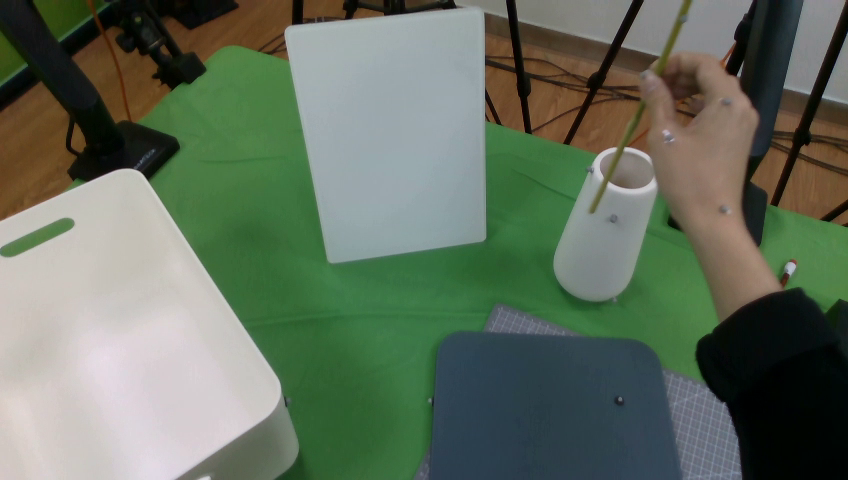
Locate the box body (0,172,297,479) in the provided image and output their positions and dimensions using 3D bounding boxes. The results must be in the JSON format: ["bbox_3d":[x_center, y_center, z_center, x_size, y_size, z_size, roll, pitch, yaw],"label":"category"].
[{"bbox_3d":[-0.323,0.134,0.620,0.254,0.162,0.360,-32,59,-22],"label":"box body"}]

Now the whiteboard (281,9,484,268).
[{"bbox_3d":[-0.044,-0.143,0.783,0.217,0.308,0.142,-8,34,-5],"label":"whiteboard"}]

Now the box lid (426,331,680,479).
[{"bbox_3d":[0.133,0.259,0.620,0.263,0.015,0.368,3,53,1],"label":"box lid"}]

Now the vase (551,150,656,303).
[{"bbox_3d":[0.209,-0.012,0.712,0.098,0.202,0.097,0,51,1],"label":"vase"}]

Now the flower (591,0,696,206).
[{"bbox_3d":[0.166,-0.115,0.439,0.038,0.364,0.043,-19,66,-8],"label":"flower"}]

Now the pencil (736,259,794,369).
[{"bbox_3d":[0.425,0.089,0.754,0.012,0.012,0.193,31,60,22],"label":"pencil"}]
